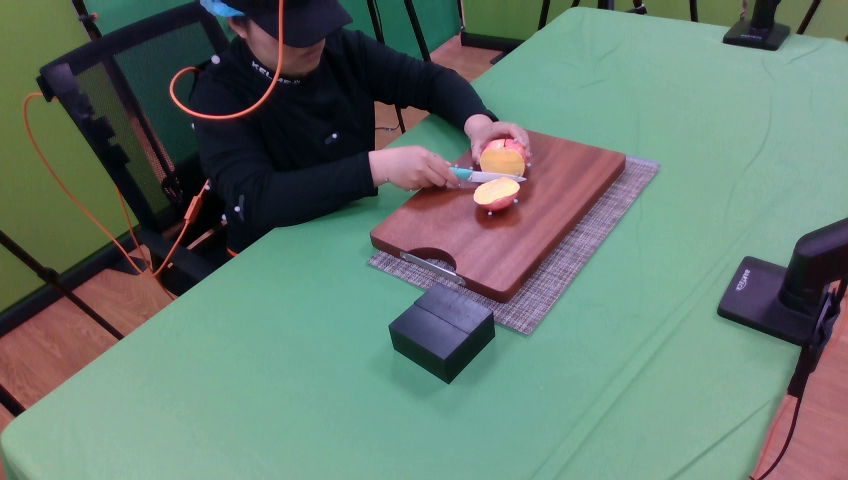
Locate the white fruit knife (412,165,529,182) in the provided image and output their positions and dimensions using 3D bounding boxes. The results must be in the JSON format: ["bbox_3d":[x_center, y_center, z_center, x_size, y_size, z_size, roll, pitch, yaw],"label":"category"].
[{"bbox_3d":[0.078,-0.113,1.044,0.207,0.027,0.016,5,42,13],"label":"white fruit knife"}]

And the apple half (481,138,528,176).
[{"bbox_3d":[0.143,-0.140,1.042,0.080,0.075,0.053,4,38,21],"label":"apple half"}]

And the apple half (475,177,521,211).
[{"bbox_3d":[0.124,-0.071,0.995,0.081,0.033,0.081,-17,29,11],"label":"apple half"}]
